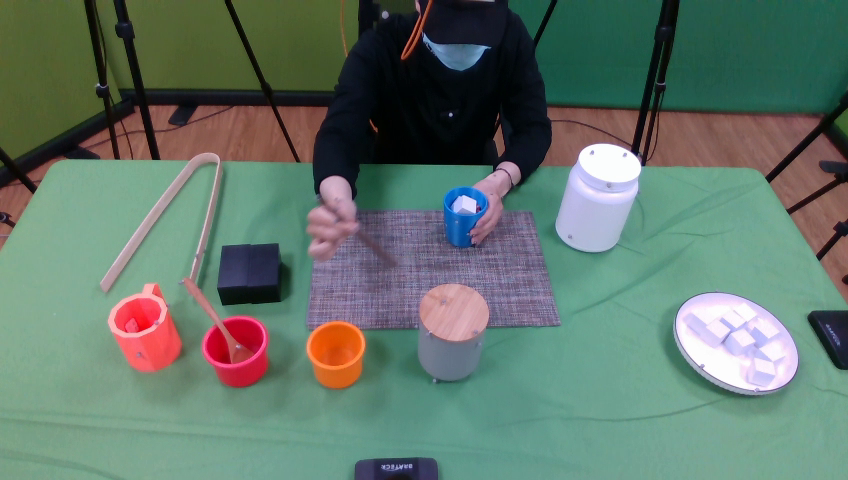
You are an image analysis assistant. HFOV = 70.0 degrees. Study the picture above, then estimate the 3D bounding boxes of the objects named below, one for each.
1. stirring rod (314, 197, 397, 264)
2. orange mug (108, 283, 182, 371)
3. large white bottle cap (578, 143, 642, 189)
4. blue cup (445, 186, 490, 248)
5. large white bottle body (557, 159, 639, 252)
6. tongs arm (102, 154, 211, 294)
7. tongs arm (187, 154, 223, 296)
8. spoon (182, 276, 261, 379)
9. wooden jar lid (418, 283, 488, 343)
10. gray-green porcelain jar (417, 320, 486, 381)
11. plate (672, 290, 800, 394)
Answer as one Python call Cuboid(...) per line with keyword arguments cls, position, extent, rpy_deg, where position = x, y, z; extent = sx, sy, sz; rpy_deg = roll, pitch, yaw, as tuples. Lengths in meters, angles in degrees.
Cuboid(cls="stirring rod", position=(-0.103, -0.011, 0.936), extent=(0.014, 0.177, 0.006), rpy_deg=(-11, 48, 45))
Cuboid(cls="orange mug", position=(-0.445, 0.134, 0.983), extent=(0.083, 0.101, 0.125), rpy_deg=(-1, 50, -5))
Cuboid(cls="large white bottle cap", position=(0.344, -0.139, 1.123), extent=(0.115, 0.018, 0.114), rpy_deg=(2, 47, -2))
Cuboid(cls="blue cup", position=(0.080, -0.039, 1.188), extent=(0.093, 0.101, 0.092), rpy_deg=(3, 45, -3))
Cuboid(cls="large white bottle body", position=(0.340, -0.081, 1.185), extent=(0.131, 0.185, 0.130), rpy_deg=(2, 46, -1))
Cuboid(cls="tongs arm", position=(-0.524, -0.046, 1.203), extent=(0.028, 0.028, 0.385), rpy_deg=(4, 45, 13))
Cuboid(cls="tongs arm", position=(-0.442, -0.045, 1.199), extent=(0.051, 0.027, 0.382), rpy_deg=(-4, 46, 1))
Cuboid(cls="spoon", position=(-0.320, 0.137, 0.957), extent=(0.041, 0.021, 0.194), rpy_deg=(-36, 102, -32))
Cuboid(cls="wooden jar lid", position=(0.045, 0.114, 0.931), extent=(0.108, 0.021, 0.107), rpy_deg=(2, 49, -2))
Cuboid(cls="gray-green porcelain jar", position=(0.042, 0.158, 0.975), extent=(0.106, 0.127, 0.105), rpy_deg=(2, 46, -2))
Cuboid(cls="plate", position=(0.533, 0.179, 1.050), extent=(0.208, 0.039, 0.206), rpy_deg=(2, 46, -2))
